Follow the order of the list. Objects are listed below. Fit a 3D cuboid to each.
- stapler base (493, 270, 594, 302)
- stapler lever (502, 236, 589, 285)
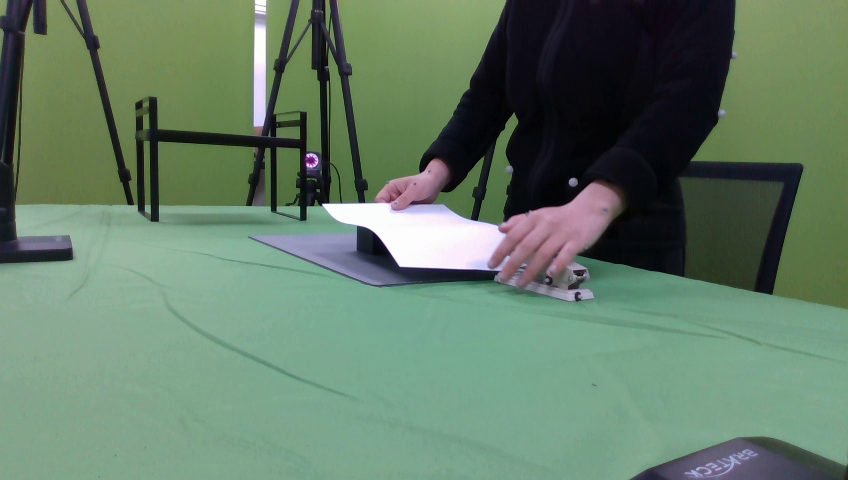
[{"bbox_3d":[0.133,0.045,0.696,0.041,0.024,0.130,-7,13,-34],"label":"stapler base"},{"bbox_3d":[0.135,0.022,0.691,0.027,0.040,0.117,-7,12,-34],"label":"stapler lever"}]
